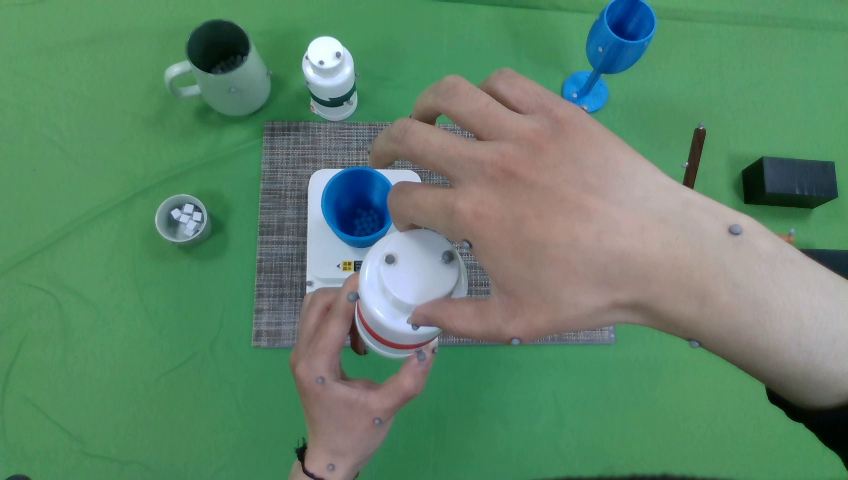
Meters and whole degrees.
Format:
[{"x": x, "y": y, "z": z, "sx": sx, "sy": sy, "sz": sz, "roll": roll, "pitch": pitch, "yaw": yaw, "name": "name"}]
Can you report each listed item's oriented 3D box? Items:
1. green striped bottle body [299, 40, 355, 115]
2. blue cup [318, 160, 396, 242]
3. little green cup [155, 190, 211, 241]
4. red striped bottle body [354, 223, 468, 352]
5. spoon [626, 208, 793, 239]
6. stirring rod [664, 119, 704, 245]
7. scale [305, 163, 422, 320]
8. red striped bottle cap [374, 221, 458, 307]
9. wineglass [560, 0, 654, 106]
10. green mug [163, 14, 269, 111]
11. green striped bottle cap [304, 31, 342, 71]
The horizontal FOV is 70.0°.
[{"x": -0.123, "y": -0.214, "z": 0.775, "sx": 0.063, "sy": 0.119, "sz": 0.063, "roll": 1, "pitch": 76, "yaw": -3, "name": "green striped bottle body"}, {"x": -0.077, "y": -0.037, "z": 0.710, "sx": 0.093, "sy": 0.100, "sz": 0.092, "roll": 1, "pitch": 78, "yaw": -5, "name": "blue cup"}, {"x": -0.299, "y": -0.028, "z": 0.761, "sx": 0.061, "sy": 0.039, "sz": 0.061, "roll": 1, "pitch": 76, "yaw": -4, "name": "little green cup"}, {"x": -0.010, "y": 0.030, "z": 0.374, "sx": 0.063, "sy": 0.120, "sz": 0.062, "roll": 3, "pitch": 71, "yaw": -8, "name": "red striped bottle body"}, {"x": 0.342, "y": -0.016, "z": 0.743, "sx": 0.022, "sy": 0.192, "sz": 0.041, "roll": 20, "pitch": 80, "yaw": -43, "name": "spoon"}, {"x": 0.322, "y": -0.067, "z": 0.754, "sx": 0.014, "sy": 0.177, "sz": 0.006, "roll": 5, "pitch": 36, "yaw": 11, "name": "stirring rod"}, {"x": -0.075, "y": -0.001, "z": 0.769, "sx": 0.149, "sy": 0.031, "sz": 0.200, "roll": -1, "pitch": 77, "yaw": -4, "name": "scale"}, {"x": -0.004, "y": 0.012, "z": 0.323, "sx": 0.044, "sy": 0.018, "sz": 0.044, "roll": 3, "pitch": 70, "yaw": -9, "name": "red striped bottle cap"}, {"x": 0.229, "y": -0.240, "z": 0.776, "sx": 0.074, "sy": 0.173, "sz": 0.073, "roll": 1, "pitch": 76, "yaw": -3, "name": "wineglass"}, {"x": -0.268, "y": -0.219, "z": 0.774, "sx": 0.125, "sy": 0.105, "sz": 0.092, "roll": -22, "pitch": 79, "yaw": -8, "name": "green mug"}, {"x": -0.121, "y": -0.227, "z": 0.724, "sx": 0.044, "sy": 0.020, "sz": 0.044, "roll": 1, "pitch": 75, "yaw": -4, "name": "green striped bottle cap"}]
